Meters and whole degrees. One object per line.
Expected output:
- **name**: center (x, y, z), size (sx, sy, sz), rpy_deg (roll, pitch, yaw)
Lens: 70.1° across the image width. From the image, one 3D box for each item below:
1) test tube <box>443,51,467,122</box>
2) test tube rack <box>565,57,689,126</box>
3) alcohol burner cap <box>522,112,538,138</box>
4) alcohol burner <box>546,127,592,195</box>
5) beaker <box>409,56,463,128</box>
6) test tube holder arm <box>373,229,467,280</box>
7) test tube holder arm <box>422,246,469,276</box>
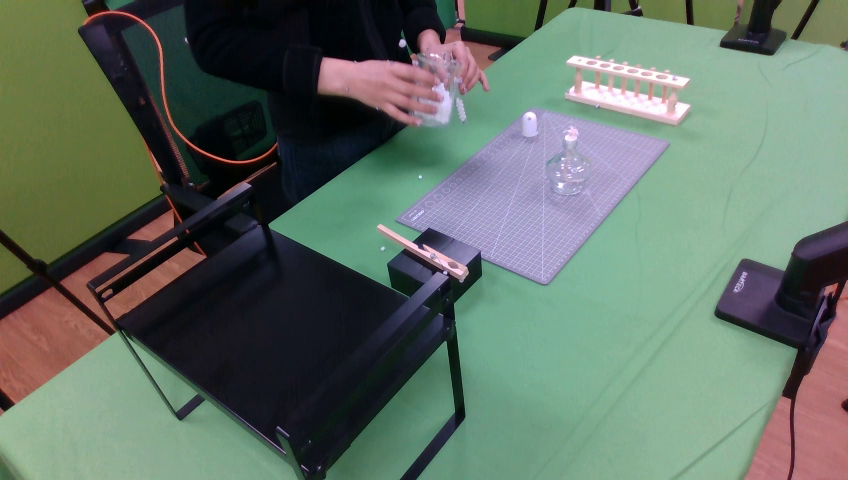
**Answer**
- **test tube**: center (0.056, -0.267, 1.070), size (0.017, 0.151, 0.017), rpy_deg (-8, 51, 11)
- **test tube rack**: center (0.411, -0.311, 1.230), size (0.240, 0.085, 0.067), rpy_deg (23, 49, 32)
- **alcohol burner cap**: center (0.210, -0.230, 1.195), size (0.034, 0.048, 0.033), rpy_deg (-5, 40, 5)
- **alcohol burner**: center (0.247, -0.137, 1.024), size (0.078, 0.119, 0.077), rpy_deg (-4, 39, 4)
- **beaker**: center (0.018, -0.238, 0.976), size (0.074, 0.100, 0.084), rpy_deg (17, 29, 10)
- **test tube holder arm**: center (-0.010, 0.019, 0.885), size (0.177, 0.015, 0.013), rpy_deg (23, 48, 33)
- **test tube holder arm**: center (0.028, 0.031, 0.864), size (0.087, 0.015, 0.010), rpy_deg (25, 49, 34)
